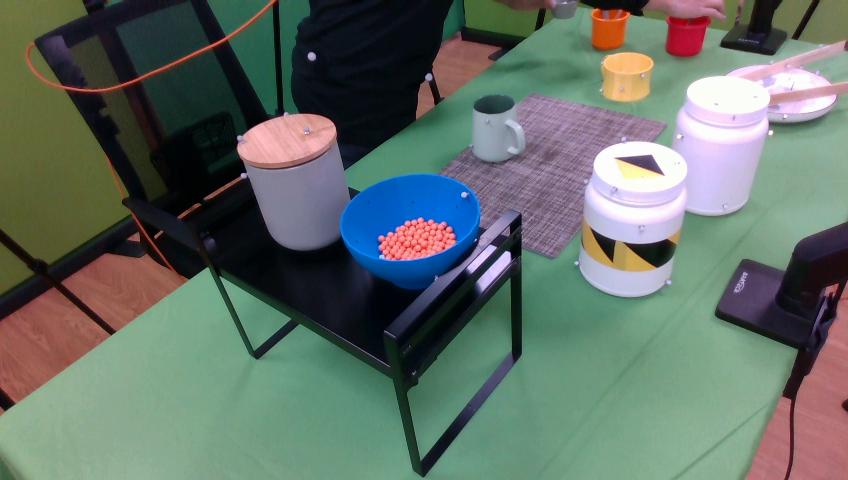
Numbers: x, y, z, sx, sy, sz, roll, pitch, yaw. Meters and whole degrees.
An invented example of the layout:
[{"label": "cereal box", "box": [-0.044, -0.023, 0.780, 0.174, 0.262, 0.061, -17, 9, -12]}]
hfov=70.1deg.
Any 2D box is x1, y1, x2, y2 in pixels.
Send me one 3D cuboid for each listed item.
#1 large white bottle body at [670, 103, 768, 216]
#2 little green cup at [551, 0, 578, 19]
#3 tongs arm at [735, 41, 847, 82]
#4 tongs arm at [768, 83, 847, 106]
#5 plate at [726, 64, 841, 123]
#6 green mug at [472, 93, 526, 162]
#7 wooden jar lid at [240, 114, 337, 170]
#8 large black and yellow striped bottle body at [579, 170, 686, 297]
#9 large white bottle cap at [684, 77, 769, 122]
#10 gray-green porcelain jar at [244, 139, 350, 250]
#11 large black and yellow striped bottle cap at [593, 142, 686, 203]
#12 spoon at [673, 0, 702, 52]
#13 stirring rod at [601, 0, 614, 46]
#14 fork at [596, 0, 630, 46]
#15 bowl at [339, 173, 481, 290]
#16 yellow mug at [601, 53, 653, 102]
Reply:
[{"label": "large white bottle body", "box": [0.458, -0.146, 0.952, 0.130, 0.185, 0.130, -4, 40, 4]}, {"label": "little green cup", "box": [0.317, -0.527, 1.365, 0.061, 0.039, 0.061, -4, 43, 4]}, {"label": "tongs arm", "box": [0.712, -0.332, 1.194, 0.386, 0.026, 0.050, -18, 45, -16]}, {"label": "tongs arm", "box": [0.738, -0.282, 1.134, 0.388, 0.028, 0.028, -9, 47, -5]}, {"label": "plate", "box": [0.695, -0.282, 1.189, 0.207, 0.039, 0.206, -4, 40, 4]}, {"label": "green mug", "box": [0.144, -0.202, 1.122, 0.093, 0.105, 0.124, -29, 45, -23]}, {"label": "wooden jar lid", "box": [-0.149, -0.106, 0.674, 0.108, 0.021, 0.108, -6, 39, 5]}, {"label": "large black and yellow striped bottle body", "box": [0.287, -0.027, 0.841, 0.131, 0.185, 0.130, -4, 40, 4]}, {"label": "large white bottle cap", "box": [0.448, -0.209, 0.897, 0.115, 0.018, 0.114, -4, 40, 4]}, {"label": "gray-green porcelain jar", "box": [-0.144, -0.060, 0.714, 0.106, 0.127, 0.105, -4, 41, 4]}, {"label": "large black and yellow striped bottle cap", "box": [0.280, -0.090, 0.786, 0.115, 0.019, 0.114, -5, 41, 5]}, {"label": "spoon", "box": [0.625, -0.523, 1.391, 0.022, 0.193, 0.041, 16, 8, -39]}, {"label": "stirring rod", "box": [0.440, -0.552, 1.463, 0.014, 0.006, 0.175, -7, 83, 2]}, {"label": "fork", "box": [0.481, -0.556, 1.452, 0.028, 0.019, 0.207, 40, 103, 38]}, {"label": "bowl", "box": [-0.011, 0.001, 0.660, 0.151, 0.077, 0.150, -5, 41, 5]}, {"label": "yellow mug", "box": [0.423, -0.354, 1.293, 0.100, 0.064, 0.129, -23, 42, -16]}]
